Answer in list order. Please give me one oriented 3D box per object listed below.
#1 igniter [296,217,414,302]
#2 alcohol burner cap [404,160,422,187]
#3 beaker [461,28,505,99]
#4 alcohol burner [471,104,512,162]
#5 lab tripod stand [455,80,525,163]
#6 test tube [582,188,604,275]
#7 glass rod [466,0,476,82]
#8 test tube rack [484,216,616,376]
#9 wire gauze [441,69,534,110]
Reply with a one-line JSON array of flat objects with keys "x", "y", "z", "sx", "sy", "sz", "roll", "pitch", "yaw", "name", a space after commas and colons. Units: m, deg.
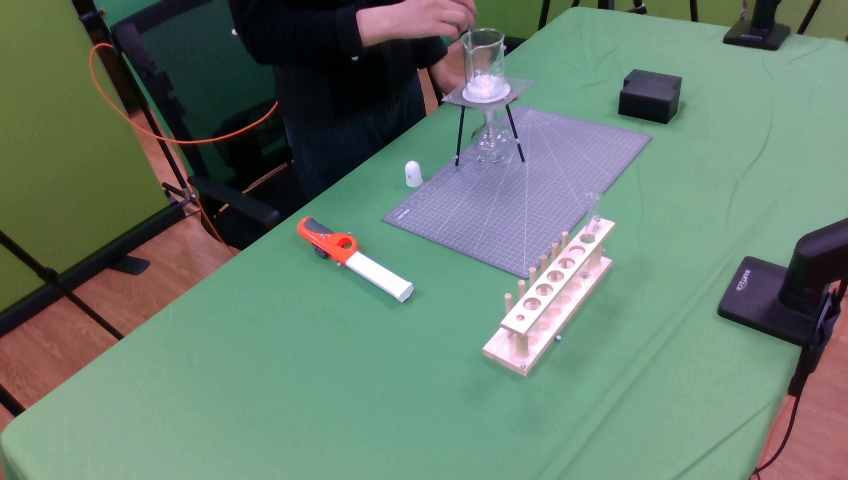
[{"x": -0.121, "y": 0.025, "z": 0.970, "sx": 0.274, "sy": 0.025, "sz": 0.057, "roll": 29, "pitch": 63, "yaw": 37, "name": "igniter"}, {"x": -0.022, "y": -0.125, "z": 1.118, "sx": 0.034, "sy": 0.048, "sz": 0.033, "roll": -4, "pitch": 41, "yaw": 4, "name": "alcohol burner cap"}, {"x": 0.103, "y": -0.304, "z": 1.051, "sx": 0.073, "sy": 0.101, "sz": 0.084, "roll": 19, "pitch": 48, "yaw": 29, "name": "beaker"}, {"x": 0.125, "y": -0.207, "z": 1.126, "sx": 0.078, "sy": 0.119, "sz": 0.077, "roll": -5, "pitch": 43, "yaw": 5, "name": "alcohol burner"}, {"x": 0.121, "y": -0.220, "z": 1.126, "sx": 0.148, "sy": 0.132, "sz": 0.147, "roll": -4, "pitch": 40, "yaw": 4, "name": "lab tripod stand"}, {"x": 0.228, "y": -0.007, "z": 0.821, "sx": 0.017, "sy": 0.151, "sz": 0.017, "roll": -3, "pitch": 42, "yaw": 3, "name": "test tube"}, {"x": 0.079, "y": -0.353, "z": 1.016, "sx": 0.008, "sy": 0.201, "sz": 0.008, "roll": -5, "pitch": 48, "yaw": 6, "name": "glass rod"}, {"x": 0.174, "y": 0.064, "z": 0.823, "sx": 0.066, "sy": 0.085, "sz": 0.243, "roll": 23, "pitch": 49, "yaw": 32, "name": "test tube rack"}, {"x": 0.114, "y": -0.268, "z": 1.082, "sx": 0.120, "sy": 0.011, "sz": 0.125, "roll": 22, "pitch": 47, "yaw": 29, "name": "wire gauze"}]
